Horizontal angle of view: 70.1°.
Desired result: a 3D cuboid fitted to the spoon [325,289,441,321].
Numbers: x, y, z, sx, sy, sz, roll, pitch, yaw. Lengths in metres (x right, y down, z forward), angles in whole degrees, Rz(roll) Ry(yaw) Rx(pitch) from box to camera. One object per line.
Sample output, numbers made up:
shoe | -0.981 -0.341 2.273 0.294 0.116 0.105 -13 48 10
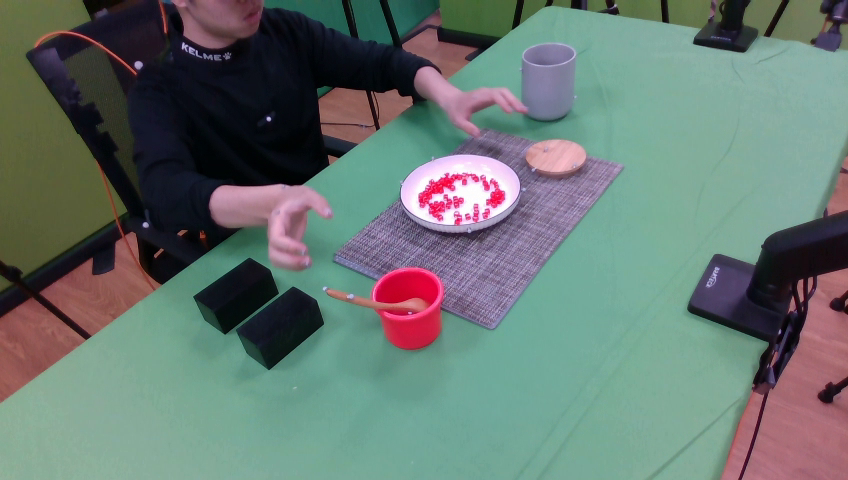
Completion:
spoon | -0.047 0.084 0.776 0.195 0.021 0.041 12 27 -42

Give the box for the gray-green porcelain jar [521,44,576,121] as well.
gray-green porcelain jar | 0.249 -0.313 1.219 0.106 0.127 0.105 -4 41 4

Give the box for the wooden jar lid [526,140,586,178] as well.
wooden jar lid | 0.240 -0.147 1.103 0.108 0.021 0.108 -4 42 4

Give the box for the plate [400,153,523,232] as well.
plate | 0.065 -0.078 1.034 0.207 0.039 0.206 -4 41 4
